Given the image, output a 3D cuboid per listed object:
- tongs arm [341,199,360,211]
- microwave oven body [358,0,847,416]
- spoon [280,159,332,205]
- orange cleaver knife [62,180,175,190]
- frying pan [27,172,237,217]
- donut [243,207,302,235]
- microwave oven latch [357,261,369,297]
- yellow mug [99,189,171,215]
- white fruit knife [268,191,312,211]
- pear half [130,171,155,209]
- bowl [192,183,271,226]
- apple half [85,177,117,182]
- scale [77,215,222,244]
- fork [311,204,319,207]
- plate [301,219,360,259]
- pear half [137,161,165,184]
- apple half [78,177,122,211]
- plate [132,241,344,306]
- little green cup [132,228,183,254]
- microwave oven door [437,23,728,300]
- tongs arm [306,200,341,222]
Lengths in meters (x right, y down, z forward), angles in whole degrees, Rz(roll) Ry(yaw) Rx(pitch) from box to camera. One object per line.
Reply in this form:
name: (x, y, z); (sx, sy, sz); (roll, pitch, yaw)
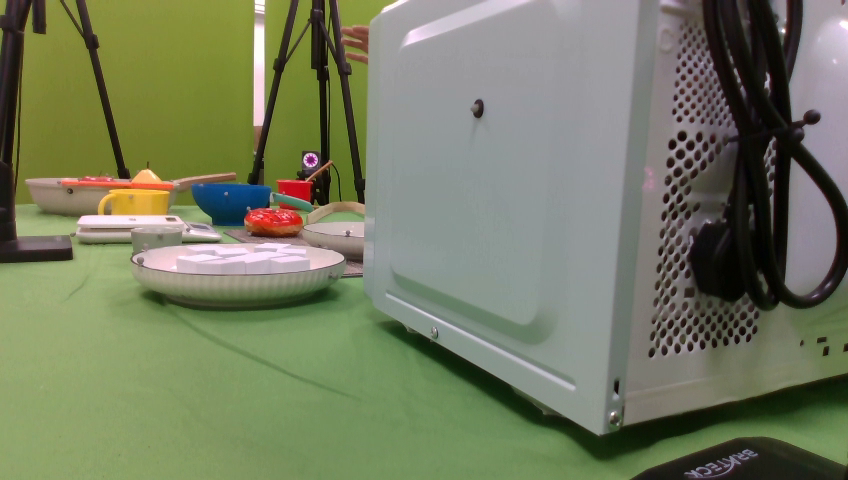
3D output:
tongs arm: (-0.149, -0.070, 1.429); (0.051, 0.026, 0.383); (-4, 9, -15)
microwave oven body: (0.211, -0.047, 0.474); (0.444, 0.260, 0.324); (-1, 7, -28)
spoon: (-0.316, -0.159, 1.640); (0.194, 0.022, 0.041); (-50, 31, -20)
orange cleaver knife: (-0.600, -0.110, 1.193); (0.212, 0.012, 0.077); (1, 8, -13)
frying pan: (-0.624, -0.118, 1.387); (0.305, 0.102, 0.490); (8, 17, 32)
donut: (-0.261, -0.032, 1.043); (0.099, 0.048, 0.099); (4, 9, 0)
microwave oven latch: (-0.019, 0.033, 0.531); (0.079, 0.029, 0.030); (-1, 7, -27)
yellow mug: (-0.518, -0.055, 1.080); (0.099, 0.064, 0.131); (7, 9, 26)
white fruit knife: (-0.364, -0.105, 1.464); (0.208, 0.027, 0.016); (15, 0, -34)
pear half: (-0.640, -0.113, 1.361); (0.031, 0.088, 0.070); (5, 10, 5)
bowl: (-0.382, -0.071, 1.202); (0.151, 0.077, 0.151); (3, 7, 0)
apple half: (-0.673, -0.096, 1.269); (0.082, 0.081, 0.032); (-4, 6, -40)
scale: (-0.434, -0.019, 0.963); (0.202, 0.031, 0.148); (-1, 9, -27)
fork: (-0.356, -0.105, 1.526); (0.208, 0.018, 0.028); (16, -5, -41)
plate: (-0.077, -0.002, 0.893); (0.209, 0.038, 0.209); (3, 8, 0)
pear half: (-0.604, -0.120, 1.354); (0.056, 0.110, 0.076); (4, 11, 7)
apple half: (-0.698, -0.099, 1.298); (0.081, 0.074, 0.053); (-9, 9, -40)
plate: (-0.187, 0.033, 0.625); (0.208, 0.039, 0.207); (2, 8, 0)
little green cup: (-0.342, 0.006, 0.779); (0.061, 0.038, 0.061); (2, 8, 0)
microwave oven door: (0.180, -0.072, 0.621); (0.358, 0.243, 0.039); (-2, 8, -29)
tongs arm: (-0.234, -0.069, 1.414); (0.028, 0.028, 0.387); (-5, 8, 1)
